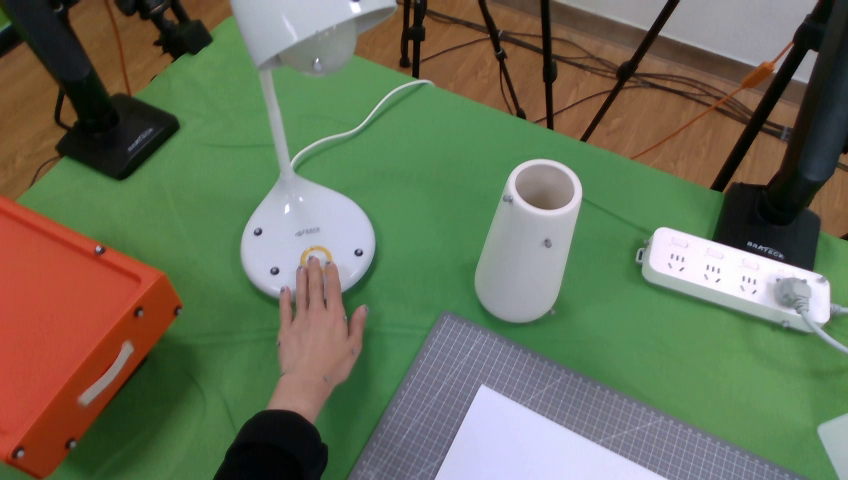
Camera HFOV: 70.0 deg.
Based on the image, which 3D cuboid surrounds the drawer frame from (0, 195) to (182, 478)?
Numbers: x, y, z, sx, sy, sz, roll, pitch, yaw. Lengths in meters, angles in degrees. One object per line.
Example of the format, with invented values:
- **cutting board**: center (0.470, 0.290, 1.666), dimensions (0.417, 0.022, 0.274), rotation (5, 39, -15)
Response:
- **drawer frame**: center (-0.389, 0.083, 0.582), dimensions (0.213, 0.083, 0.200), rotation (23, 59, 11)

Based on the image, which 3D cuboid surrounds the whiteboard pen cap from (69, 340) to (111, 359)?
- **whiteboard pen cap**: center (-0.326, 0.107, 0.591), dimensions (0.033, 0.018, 0.018), rotation (-2, 55, -8)

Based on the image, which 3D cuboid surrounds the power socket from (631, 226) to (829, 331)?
- **power socket**: center (0.366, 0.044, 0.727), dimensions (0.226, 0.033, 0.072), rotation (19, 58, 9)

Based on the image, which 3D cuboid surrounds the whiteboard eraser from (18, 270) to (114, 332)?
- **whiteboard eraser**: center (-0.371, 0.066, 0.636), dimensions (0.112, 0.042, 0.055), rotation (-9, 61, 28)

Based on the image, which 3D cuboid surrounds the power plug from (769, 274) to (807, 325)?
- **power plug**: center (0.404, 0.069, 0.683), dimensions (0.035, 0.053, 0.072), rotation (27, 60, 16)

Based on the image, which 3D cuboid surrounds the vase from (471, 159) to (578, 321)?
- **vase**: center (0.104, 0.005, 0.640), dimensions (0.098, 0.201, 0.097), rotation (1, 54, -1)

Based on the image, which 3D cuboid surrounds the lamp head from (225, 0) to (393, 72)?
- **lamp head**: center (-0.096, -0.192, 0.424), dimensions (0.112, 0.112, 0.123), rotation (-31, 100, -21)

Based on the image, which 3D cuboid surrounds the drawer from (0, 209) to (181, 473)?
- **drawer**: center (-0.383, 0.082, 0.579), dimensions (0.211, 0.074, 0.193), rotation (22, 58, 12)

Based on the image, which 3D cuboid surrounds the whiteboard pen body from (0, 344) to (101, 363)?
- **whiteboard pen body**: center (-0.384, 0.109, 0.580), dimensions (0.141, 0.017, 0.017), rotation (-1, 55, -7)

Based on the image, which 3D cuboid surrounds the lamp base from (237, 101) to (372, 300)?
- **lamp base**: center (-0.147, -0.051, 0.676), dimensions (0.161, 0.182, 0.177), rotation (-23, 57, -18)

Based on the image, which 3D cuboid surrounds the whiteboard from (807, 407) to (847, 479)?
- **whiteboard**: center (0.538, 0.206, 0.497), dimensions (0.144, 0.307, 0.215), rotation (8, 53, -20)
